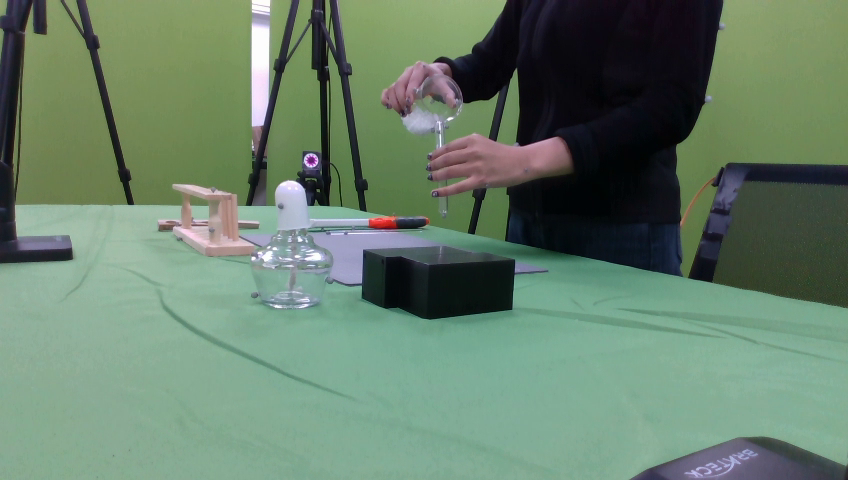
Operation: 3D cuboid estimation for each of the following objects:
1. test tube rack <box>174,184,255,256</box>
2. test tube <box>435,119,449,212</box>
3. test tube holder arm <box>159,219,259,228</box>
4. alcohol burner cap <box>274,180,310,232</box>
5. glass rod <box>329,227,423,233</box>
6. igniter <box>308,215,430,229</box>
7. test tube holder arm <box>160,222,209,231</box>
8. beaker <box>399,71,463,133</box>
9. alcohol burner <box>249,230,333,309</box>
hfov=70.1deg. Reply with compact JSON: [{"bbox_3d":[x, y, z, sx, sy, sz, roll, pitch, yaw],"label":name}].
[{"bbox_3d":[-0.327,-0.036,0.928,0.067,0.085,0.241,-2,9,-32],"label":"test tube rack"},{"bbox_3d":[0.027,-0.114,0.915,0.017,0.150,0.017,-2,-16,0],"label":"test tube"},{"bbox_3d":[-0.390,-0.030,1.107,0.179,0.015,0.013,-3,45,-39],"label":"test tube holder arm"},{"bbox_3d":[-0.125,-0.032,0.563,0.034,0.048,0.034,-5,6,1],"label":"alcohol burner cap"},{"bbox_3d":[-0.087,-0.019,1.148,0.201,0.008,0.008,-3,8,-32],"label":"glass rod"},{"bbox_3d":[-0.108,-0.037,1.228,0.278,0.025,0.057,-3,-1,-35],"label":"igniter"},{"bbox_3d":[-0.423,-0.024,1.076,0.088,0.015,0.010,-3,45,-38],"label":"test tube holder arm"},{"bbox_3d":[0.007,-0.217,0.983,0.074,0.084,0.100,7,-9,-23],"label":"beaker"},{"bbox_3d":[-0.125,0.004,0.568,0.078,0.119,0.078,2,10,0],"label":"alcohol burner"}]
